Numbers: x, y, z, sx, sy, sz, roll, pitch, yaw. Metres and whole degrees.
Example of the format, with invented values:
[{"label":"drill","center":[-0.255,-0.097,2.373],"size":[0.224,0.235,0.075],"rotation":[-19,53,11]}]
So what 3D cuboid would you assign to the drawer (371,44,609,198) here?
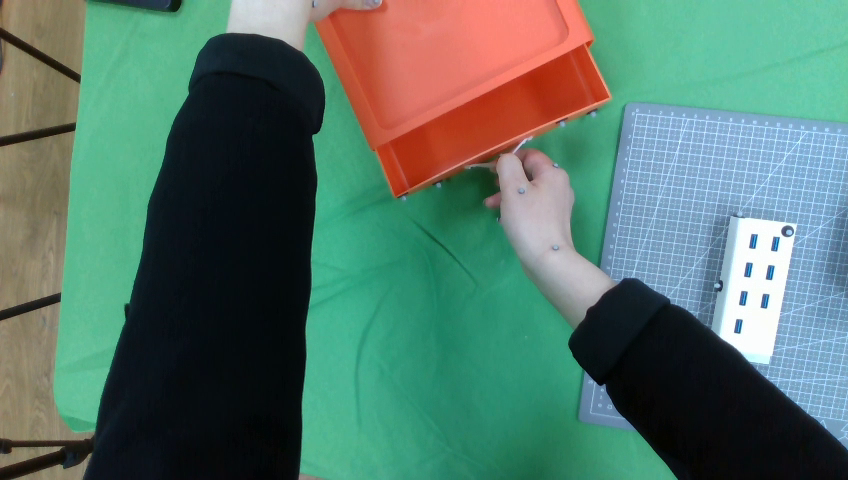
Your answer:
[{"label":"drawer","center":[0.023,-0.168,0.519],"size":[0.194,0.073,0.212],"rotation":[-23,93,10]}]

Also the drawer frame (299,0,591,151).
[{"label":"drawer frame","center":[0.002,-0.211,0.515],"size":[0.201,0.083,0.213],"rotation":[-25,92,9]}]

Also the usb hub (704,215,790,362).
[{"label":"usb hub","center":[0.284,0.042,0.534],"size":[0.049,0.025,0.125],"rotation":[7,97,6]}]
